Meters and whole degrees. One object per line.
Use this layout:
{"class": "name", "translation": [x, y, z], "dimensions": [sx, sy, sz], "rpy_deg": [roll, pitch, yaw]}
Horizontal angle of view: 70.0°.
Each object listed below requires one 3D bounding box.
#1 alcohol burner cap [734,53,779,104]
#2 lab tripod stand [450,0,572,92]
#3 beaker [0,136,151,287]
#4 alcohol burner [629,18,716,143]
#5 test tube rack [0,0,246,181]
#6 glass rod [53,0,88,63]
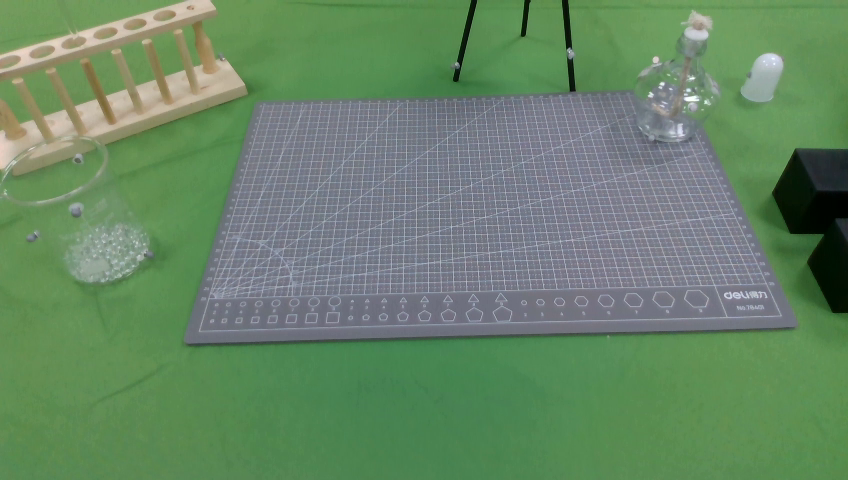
{"class": "alcohol burner cap", "translation": [0.342, -0.167, 0.619], "dimensions": [0.034, 0.048, 0.033], "rpy_deg": [-1, 48, 1]}
{"class": "lab tripod stand", "translation": [0.100, -0.234, 0.627], "dimensions": [0.148, 0.132, 0.147], "rpy_deg": [0, 48, 0]}
{"class": "beaker", "translation": [-0.266, -0.017, 0.469], "dimensions": [0.084, 0.101, 0.073], "rpy_deg": [-23, 51, -17]}
{"class": "alcohol burner", "translation": [0.232, -0.149, 0.554], "dimensions": [0.078, 0.120, 0.077], "rpy_deg": [0, 50, 1]}
{"class": "test tube rack", "translation": [-0.313, -0.153, 0.601], "dimensions": [0.242, 0.086, 0.066], "rpy_deg": [-26, 52, -20]}
{"class": "glass rod", "translation": [-0.326, -0.197, 0.551], "dimensions": [0.008, 0.201, 0.008], "rpy_deg": [2, 50, -2]}
